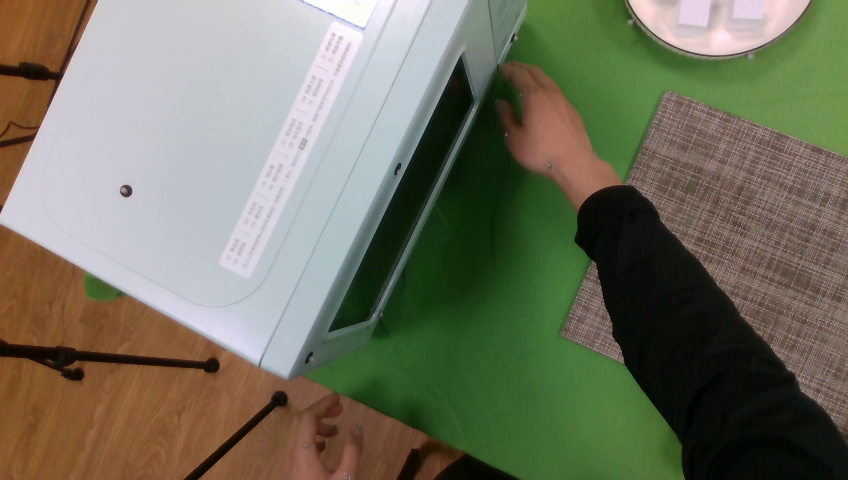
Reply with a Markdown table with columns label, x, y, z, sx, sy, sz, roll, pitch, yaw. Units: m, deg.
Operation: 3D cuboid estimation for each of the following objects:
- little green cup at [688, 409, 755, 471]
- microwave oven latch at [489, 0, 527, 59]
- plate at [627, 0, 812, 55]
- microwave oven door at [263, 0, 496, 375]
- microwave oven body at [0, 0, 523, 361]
| label | x | y | z | sx | sy | sz | roll | pitch | yaw |
| --- | --- | --- | --- | --- | --- | --- | --- | --- | --- |
| little green cup | 0.316 | 0.212 | 0.651 | 0.061 | 0.039 | 0.061 | -1 | 86 | 8 |
| microwave oven latch | 0.087 | -0.245 | 0.678 | 0.030 | 0.029 | 0.079 | 30 | 94 | 8 |
| plate | 0.320 | -0.302 | 0.663 | 0.207 | 0.039 | 0.207 | 0 | 88 | 9 |
| microwave oven door | -0.027 | -0.051 | 0.589 | 0.039 | 0.244 | 0.356 | 26 | 92 | 9 |
| microwave oven body | -0.136 | -0.153 | 0.613 | 0.325 | 0.261 | 0.441 | 26 | 93 | 8 |
